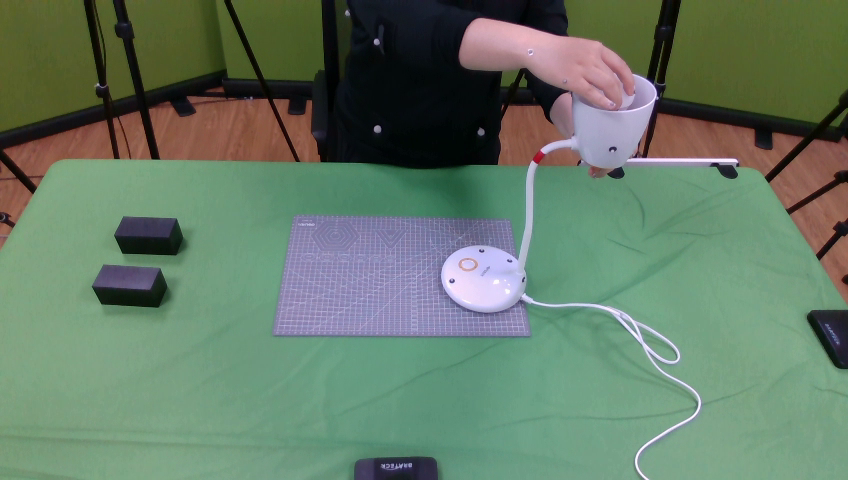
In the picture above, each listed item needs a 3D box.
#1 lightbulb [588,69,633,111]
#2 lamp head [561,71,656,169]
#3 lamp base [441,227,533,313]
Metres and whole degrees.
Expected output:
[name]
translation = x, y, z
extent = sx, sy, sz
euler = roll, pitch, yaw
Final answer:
[lightbulb]
translation = 0.259, -0.185, 0.850
extent = 0.059, 0.108, 0.059
euler = -4, 36, 3
[lamp head]
translation = 0.257, -0.162, 0.861
extent = 0.112, 0.123, 0.111
euler = 1, 43, -1
[lamp base]
translation = 0.126, 0.022, 1.071
extent = 0.179, 0.181, 0.160
euler = 22, 49, 13
